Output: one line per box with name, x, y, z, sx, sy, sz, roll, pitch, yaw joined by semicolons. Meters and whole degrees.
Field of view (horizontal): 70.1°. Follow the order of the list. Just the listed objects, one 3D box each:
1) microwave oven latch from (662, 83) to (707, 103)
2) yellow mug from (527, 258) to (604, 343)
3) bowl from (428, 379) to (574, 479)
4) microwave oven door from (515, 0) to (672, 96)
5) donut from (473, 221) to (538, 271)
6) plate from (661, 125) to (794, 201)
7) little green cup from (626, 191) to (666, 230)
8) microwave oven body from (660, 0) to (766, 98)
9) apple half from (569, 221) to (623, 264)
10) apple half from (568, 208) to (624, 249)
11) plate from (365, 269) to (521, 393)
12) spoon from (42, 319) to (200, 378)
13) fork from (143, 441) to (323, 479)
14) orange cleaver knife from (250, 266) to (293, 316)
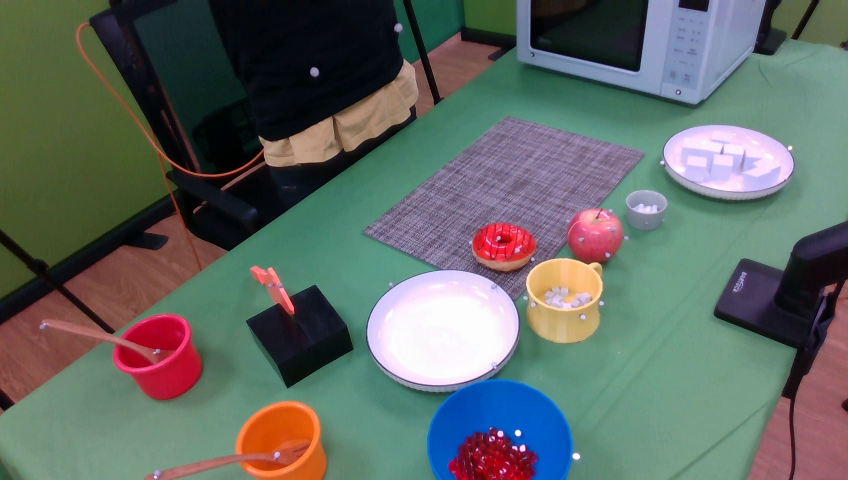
microwave oven latch;0.517;-0.296;1.204;0.078;0.029;0.030;27;52;35
yellow mug;0.201;0.073;0.825;0.131;0.064;0.099;-32;46;-27
bowl;0.082;0.233;0.644;0.151;0.077;0.150;-4;39;4
microwave oven door;0.343;-0.454;1.259;0.353;0.245;0.039;26;51;33
donut;0.124;0.008;0.923;0.099;0.048;0.098;-4;38;3
plate;0.513;-0.128;1.035;0.207;0.039;0.206;-4;40;4
little green cup;0.352;-0.046;0.963;0.061;0.039;0.061;-4;40;4
microwave oven body;0.472;-0.513;1.317;0.438;0.261;0.327;26;51;34
apple half;0.251;0.010;0.884;0.081;0.081;0.032;3;37;12
apple half;0.259;-0.014;0.914;0.080;0.075;0.053;0;36;15
plate;0.027;0.123;0.813;0.209;0.038;0.208;-4;40;4
spoon;-0.385;0.135;0.779;0.195;0.021;0.041;29;37;-26
fork;-0.189;0.231;0.631;0.028;0.018;0.209;35;13;37
orange cleaver knife;-0.221;0.071;0.873;0.012;0.077;0.210;-26;12;-21
